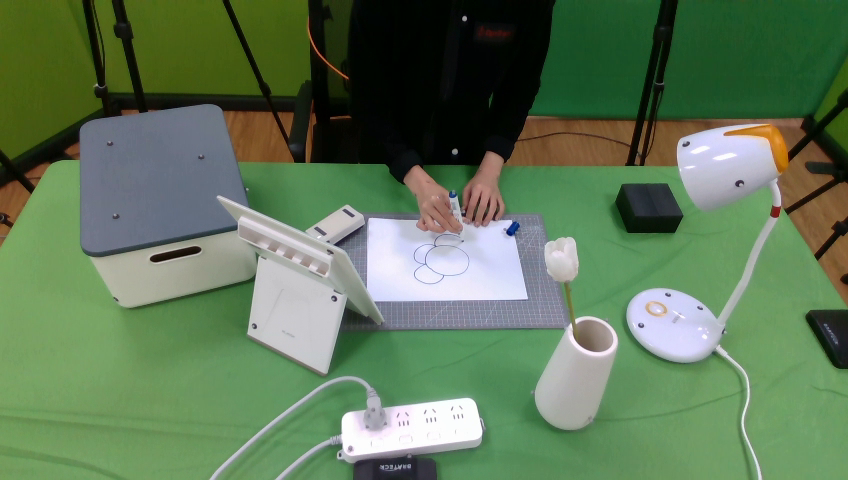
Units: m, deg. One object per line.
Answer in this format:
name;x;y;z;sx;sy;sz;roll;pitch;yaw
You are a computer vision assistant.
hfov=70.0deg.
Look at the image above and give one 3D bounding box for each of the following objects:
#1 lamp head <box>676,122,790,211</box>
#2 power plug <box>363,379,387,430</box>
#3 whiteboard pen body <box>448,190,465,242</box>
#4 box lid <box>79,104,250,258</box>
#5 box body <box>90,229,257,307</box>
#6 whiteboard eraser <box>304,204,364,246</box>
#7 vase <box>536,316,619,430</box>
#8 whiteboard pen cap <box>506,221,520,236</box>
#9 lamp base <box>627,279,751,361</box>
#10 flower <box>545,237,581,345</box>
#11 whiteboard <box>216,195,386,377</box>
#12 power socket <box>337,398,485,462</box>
lamp head;0.423;-0.104;0.819;0.122;0.113;0.112;-13;33;40
power plug;-0.071;0.252;0.911;0.035;0.053;0.072;3;40;0
whiteboard pen body;0.064;-0.042;1.158;0.017;0.141;0.017;-7;49;9
box lid;-0.467;-0.121;1.075;0.264;0.015;0.369;-13;49;-17
box body;-0.471;-0.070;1.131;0.254;0.161;0.361;-14;49;-17
whiteboard eraser;-0.175;-0.022;1.188;0.055;0.042;0.112;36;53;26
vase;0.229;0.200;0.901;0.098;0.201;0.097;3;46;-3
whiteboard pen cap;0.180;-0.023;1.234;0.018;0.018;0.033;27;52;20
lamp base;0.460;0.100;1.027;0.178;0.181;0.160;27;51;17
flower;0.213;0.137;0.846;0.038;0.364;0.044;22;55;40
whiteboard;-0.212;0.093;0.939;0.216;0.307;0.143;24;70;17
power socket;-0.018;0.285;0.914;0.227;0.033;0.071;-4;46;-8
